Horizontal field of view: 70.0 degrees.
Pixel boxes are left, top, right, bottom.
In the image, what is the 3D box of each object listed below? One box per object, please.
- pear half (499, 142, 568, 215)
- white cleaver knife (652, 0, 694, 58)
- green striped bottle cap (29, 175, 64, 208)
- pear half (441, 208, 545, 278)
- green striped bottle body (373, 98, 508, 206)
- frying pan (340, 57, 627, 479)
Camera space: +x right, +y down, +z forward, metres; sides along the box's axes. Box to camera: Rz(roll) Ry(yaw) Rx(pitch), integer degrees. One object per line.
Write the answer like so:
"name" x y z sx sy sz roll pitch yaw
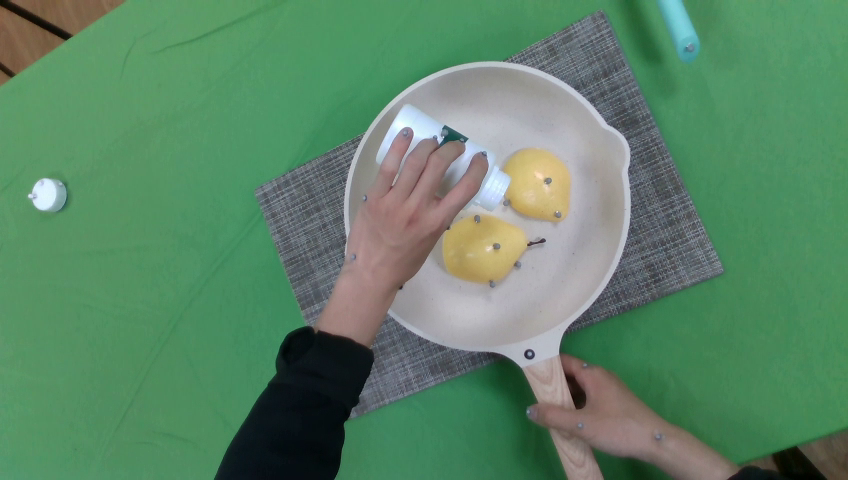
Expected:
"pear half" 0.116 -0.064 0.639 0.070 0.031 0.087 -41 77 17
"white cleaver knife" 0.206 -0.312 0.602 0.021 0.066 0.285 -22 83 19
"green striped bottle cap" -0.508 -0.065 0.815 0.044 0.020 0.044 0 90 15
"pear half" 0.072 0.001 0.641 0.109 0.056 0.076 -11 92 13
"green striped bottle body" 0.018 -0.076 0.563 0.119 0.063 0.063 29 98 -4
"frying pan" 0.091 0.058 0.613 0.306 0.103 0.485 -22 77 15
